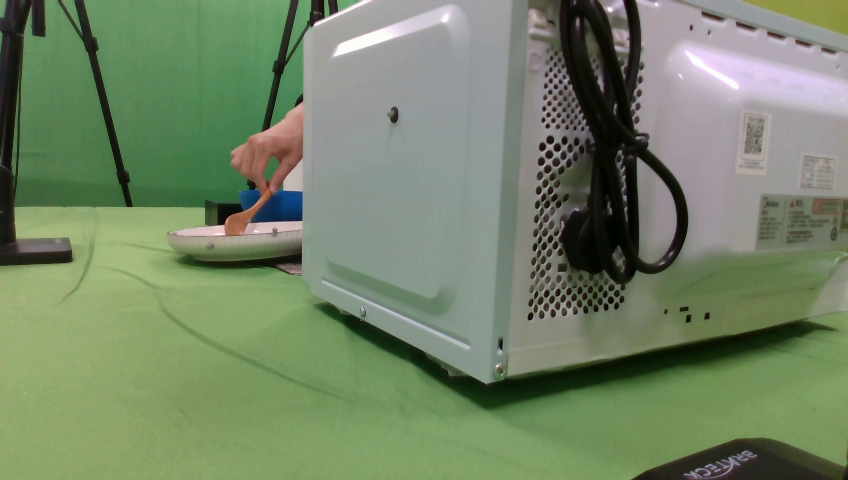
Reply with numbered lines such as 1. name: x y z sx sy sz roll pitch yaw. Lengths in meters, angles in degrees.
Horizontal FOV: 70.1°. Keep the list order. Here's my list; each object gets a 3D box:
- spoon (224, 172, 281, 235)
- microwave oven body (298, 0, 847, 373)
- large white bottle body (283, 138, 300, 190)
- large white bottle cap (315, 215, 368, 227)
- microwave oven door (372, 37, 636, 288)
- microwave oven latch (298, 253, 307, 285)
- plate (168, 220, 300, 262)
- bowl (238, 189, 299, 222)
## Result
1. spoon: -0.255 -0.054 0.921 0.021 0.042 0.194 -8 31 22
2. microwave oven body: 0.151 -0.055 0.542 0.444 0.260 0.324 -2 7 -33
3. large white bottle body: -0.265 -0.143 1.424 0.131 0.184 0.130 2 7 0
4. large white bottle cap: -0.178 -0.041 1.309 0.115 0.018 0.115 2 6 0
5. microwave oven door: 0.109 -0.080 0.686 0.358 0.243 0.039 -2 9 -33
6. microwave oven latch: -0.081 0.027 0.582 0.079 0.029 0.030 -1 7 -32
7. plate: -0.237 0.000 0.829 0.209 0.038 0.209 -3 6 1
8. bowl: -0.245 -0.046 1.053 0.151 0.077 0.151 3 8 0
